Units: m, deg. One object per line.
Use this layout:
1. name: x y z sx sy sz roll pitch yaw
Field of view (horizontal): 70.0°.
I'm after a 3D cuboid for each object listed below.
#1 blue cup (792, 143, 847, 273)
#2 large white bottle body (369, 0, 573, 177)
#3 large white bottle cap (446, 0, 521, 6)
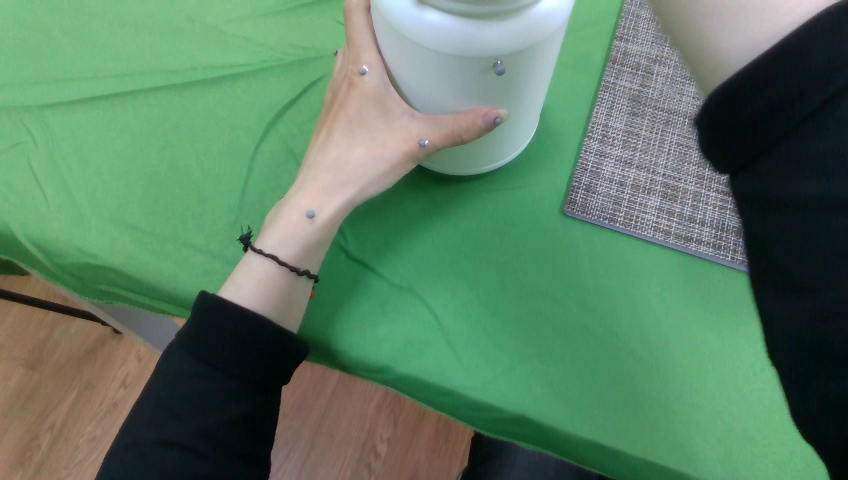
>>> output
1. blue cup: 0.306 -0.024 0.411 0.092 0.101 0.092 0 63 0
2. large white bottle body: 0.029 -0.143 0.418 0.130 0.186 0.129 0 65 -1
3. large white bottle cap: 0.030 -0.181 0.340 0.115 0.018 0.114 1 66 -2
